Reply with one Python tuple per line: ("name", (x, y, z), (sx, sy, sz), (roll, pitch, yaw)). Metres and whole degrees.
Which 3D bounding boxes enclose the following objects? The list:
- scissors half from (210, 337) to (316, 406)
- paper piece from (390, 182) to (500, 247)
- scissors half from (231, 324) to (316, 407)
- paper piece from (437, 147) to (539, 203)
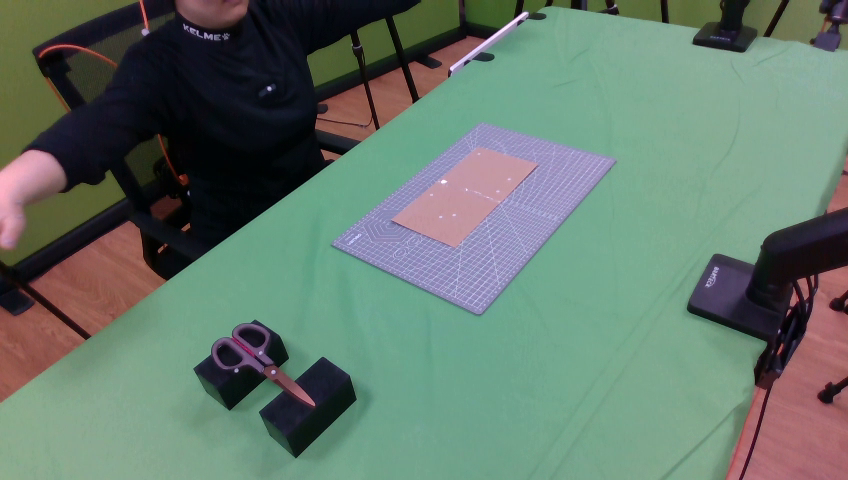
("scissors half", (-0.198, 0.163, 0.736), (0.174, 0.013, 0.040), (20, 41, 25))
("paper piece", (0.037, -0.048, 1.027), (0.134, 0.004, 0.136), (23, 48, 30))
("scissors half", (-0.185, 0.153, 0.748), (0.040, 0.013, 0.173), (-32, 48, -28))
("paper piece", (0.117, -0.122, 1.104), (0.135, 0.009, 0.138), (25, 49, 29))
